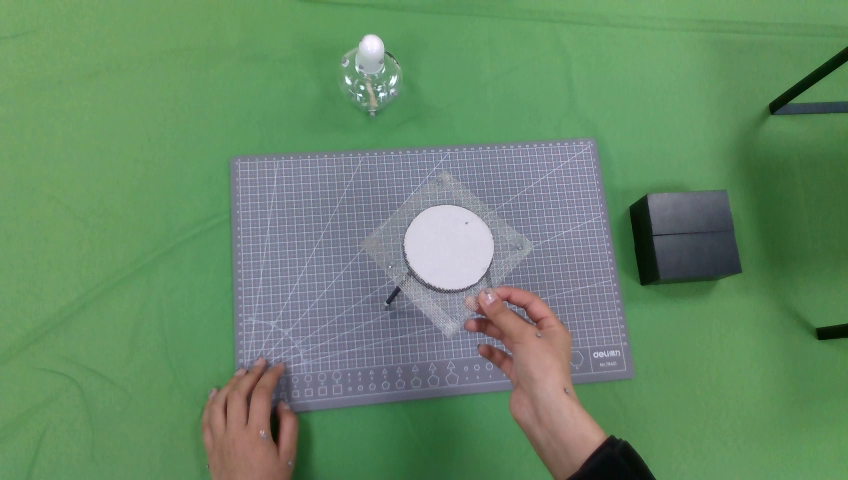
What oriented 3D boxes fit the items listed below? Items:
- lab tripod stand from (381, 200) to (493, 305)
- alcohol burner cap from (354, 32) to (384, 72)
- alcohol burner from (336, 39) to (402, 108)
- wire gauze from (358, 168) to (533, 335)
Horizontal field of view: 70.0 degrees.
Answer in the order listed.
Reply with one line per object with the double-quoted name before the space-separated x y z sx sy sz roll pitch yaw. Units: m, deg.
"lab tripod stand" 0.020 0.020 0.646 0.149 0.132 0.147 2 76 -7
"alcohol burner cap" -0.060 -0.209 0.667 0.034 0.048 0.033 1 82 -9
"alcohol burner" -0.063 -0.202 0.701 0.078 0.119 0.077 2 77 -7
"wire gauze" 0.021 0.005 0.575 0.124 0.011 0.121 44 73 11
